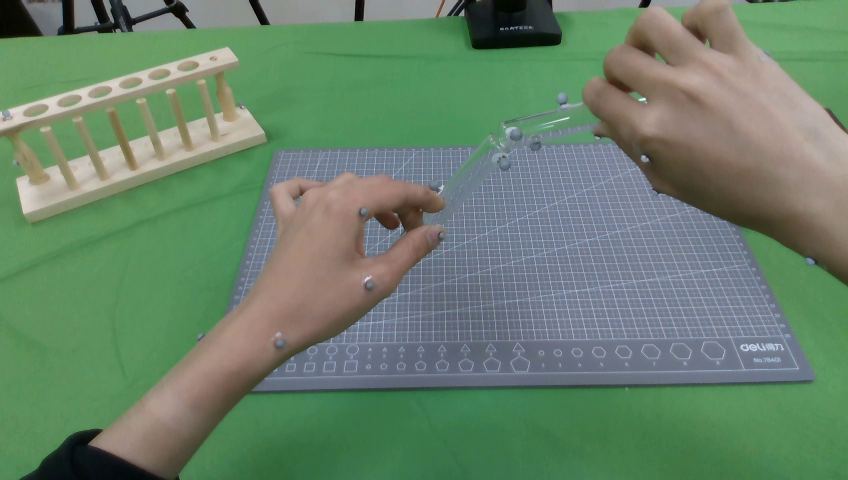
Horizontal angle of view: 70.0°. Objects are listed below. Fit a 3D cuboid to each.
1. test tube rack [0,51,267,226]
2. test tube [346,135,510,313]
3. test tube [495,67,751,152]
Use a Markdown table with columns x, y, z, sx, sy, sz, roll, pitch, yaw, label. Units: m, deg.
| x | y | z | sx | sy | sz | roll | pitch | yaw | label |
| --- | --- | --- | --- | --- | --- | --- | --- | --- | --- |
| -0.295 | -0.108 | 0.618 | 0.243 | 0.086 | 0.066 | -24 | 49 | -21 | test tube rack |
| -0.003 | -0.004 | 0.363 | 0.017 | 0.151 | 0.017 | 32 | 29 | -20 | test tube |
| 0.112 | -0.073 | 0.335 | 0.150 | 0.017 | 0.017 | -15 | 46 | -7 | test tube |
